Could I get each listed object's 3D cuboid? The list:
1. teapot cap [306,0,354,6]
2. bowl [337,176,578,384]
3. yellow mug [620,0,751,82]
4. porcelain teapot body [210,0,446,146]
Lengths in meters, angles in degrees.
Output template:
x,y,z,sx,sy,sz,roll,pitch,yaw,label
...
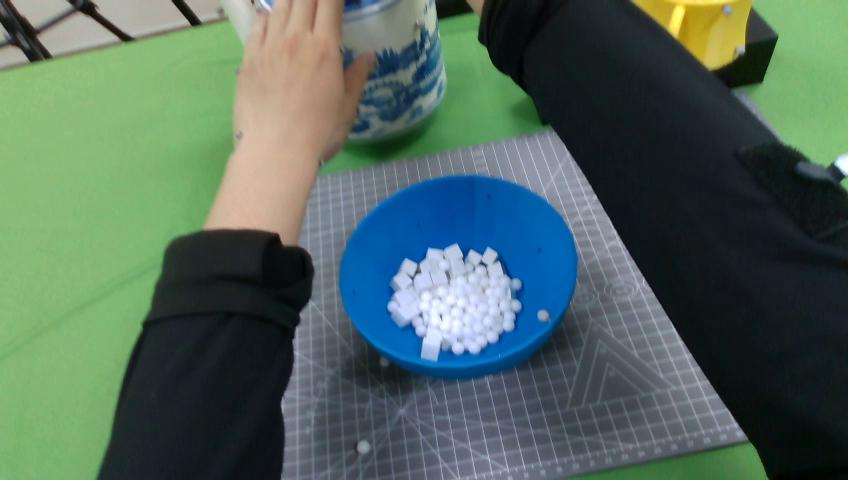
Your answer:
x,y,z,sx,sy,sz,roll,pitch,yaw,label
-0.073,-0.224,0.486,0.085,0.044,0.084,-6,54,9,teapot cap
0.024,0.037,0.407,0.151,0.077,0.150,-4,52,6,bowl
0.210,-0.183,0.493,0.099,0.064,0.130,17,59,22,yellow mug
-0.094,-0.197,0.520,0.205,0.227,0.144,-6,53,7,porcelain teapot body
